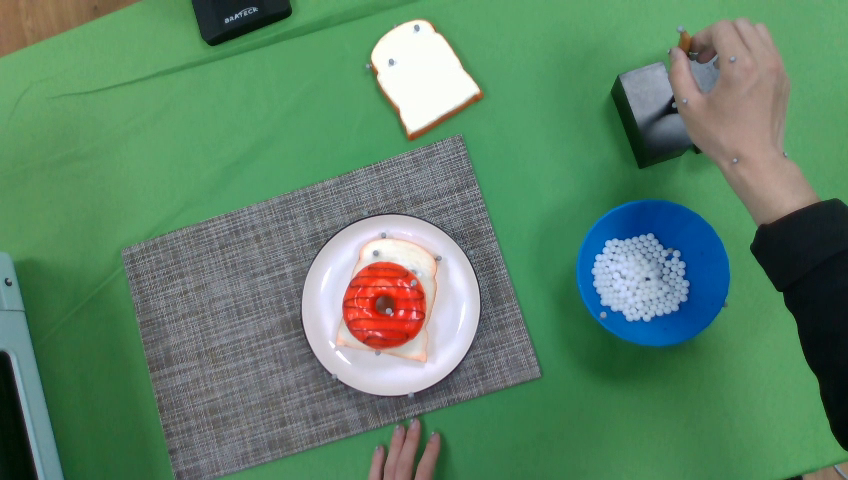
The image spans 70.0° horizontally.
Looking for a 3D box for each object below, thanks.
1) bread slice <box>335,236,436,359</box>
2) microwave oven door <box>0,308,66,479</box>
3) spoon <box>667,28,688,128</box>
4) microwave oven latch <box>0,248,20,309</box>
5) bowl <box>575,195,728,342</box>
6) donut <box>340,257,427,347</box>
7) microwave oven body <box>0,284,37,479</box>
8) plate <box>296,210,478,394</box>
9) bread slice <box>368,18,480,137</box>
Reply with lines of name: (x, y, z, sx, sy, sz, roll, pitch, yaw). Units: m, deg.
bread slice: (-0.041, 0.063, 0.697, 0.107, 0.018, 0.134, 7, 84, 7)
microwave oven door: (-0.467, 0.239, 0.610, 0.039, 0.245, 0.354, -20, 81, 4)
spoon: (0.254, -0.160, 0.612, 0.021, 0.195, 0.041, -5, 78, 24)
microwave oven latch: (-0.524, 0.049, 0.743, 0.030, 0.029, 0.079, -19, 82, 4)
bowl: (0.234, 0.033, 0.650, 0.151, 0.077, 0.151, -1, 83, 7)
donut: (-0.044, 0.069, 0.668, 0.099, 0.048, 0.099, -1, 83, 8)
microwave oven body: (-0.618, 0.251, 0.632, 0.326, 0.261, 0.440, -20, 82, 4)
plate: (-0.041, 0.070, 0.696, 0.207, 0.039, 0.207, -1, 83, 7)
bread slice: (-0.009, -0.205, 0.740, 0.105, 0.019, 0.131, -32, 82, 1)
